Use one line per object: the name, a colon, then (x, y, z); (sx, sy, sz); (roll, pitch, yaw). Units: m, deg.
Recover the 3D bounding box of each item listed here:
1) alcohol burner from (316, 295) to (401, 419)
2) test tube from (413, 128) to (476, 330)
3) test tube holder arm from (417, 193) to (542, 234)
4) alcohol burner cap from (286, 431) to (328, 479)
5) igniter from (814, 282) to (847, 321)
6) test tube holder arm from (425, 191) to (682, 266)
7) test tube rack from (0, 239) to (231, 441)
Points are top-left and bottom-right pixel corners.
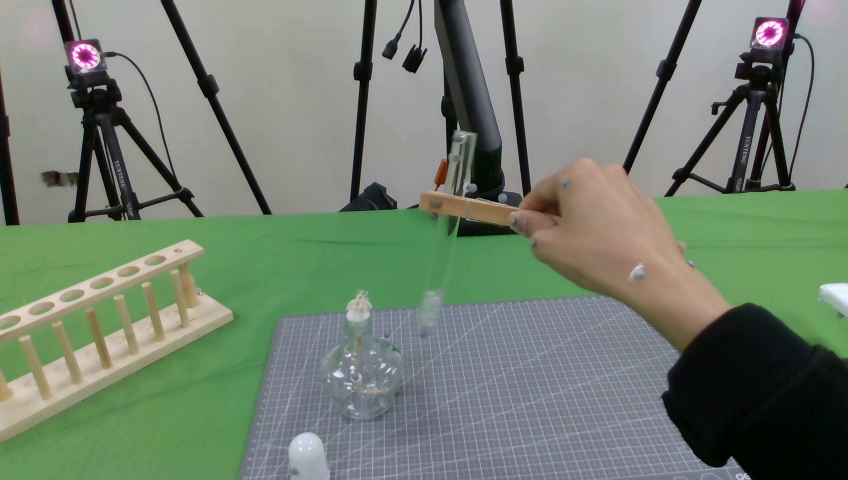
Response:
alcohol burner: (-0.060, 0.102, 0.550); (0.078, 0.120, 0.077); (-1, 27, 1)
test tube: (0.014, -0.006, 0.437); (0.017, 0.150, 0.017); (12, 13, -2)
test tube holder arm: (0.038, -0.019, 0.421); (0.087, 0.015, 0.010); (12, 16, 13)
alcohol burner cap: (-0.097, 0.177, 0.491); (0.034, 0.048, 0.033); (-1, 29, 1)
igniter: (0.435, 0.110, 0.513); (0.057, 0.025, 0.274); (-4, 25, -4)
test tube holder arm: (0.081, -0.010, 0.413); (0.177, 0.015, 0.013); (14, 17, 20)
test tube rack: (-0.327, 0.090, 0.618); (0.066, 0.086, 0.242); (23, 37, 36)
